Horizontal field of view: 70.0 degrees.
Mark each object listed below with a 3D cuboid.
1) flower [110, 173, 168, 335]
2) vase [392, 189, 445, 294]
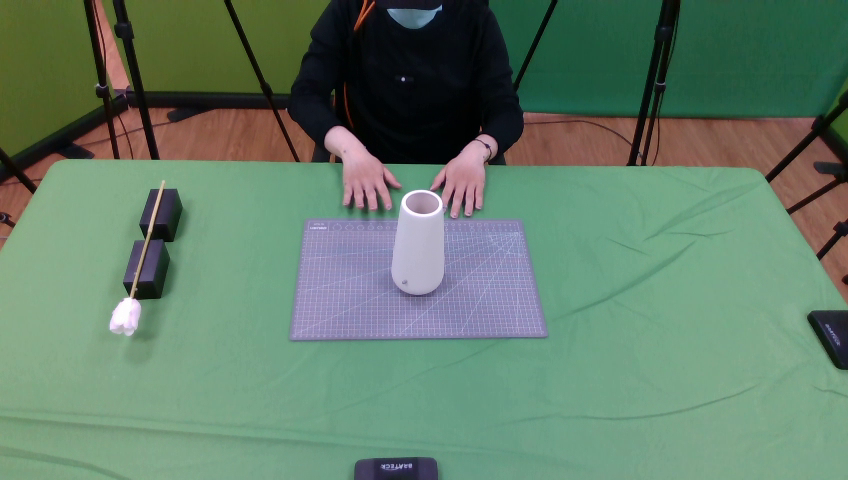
[{"bbox_3d":[-0.497,0.008,1.087,0.044,0.038,0.359,-12,50,9],"label":"flower"},{"bbox_3d":[-0.007,0.007,1.060,0.098,0.201,0.097,2,48,-2],"label":"vase"}]
